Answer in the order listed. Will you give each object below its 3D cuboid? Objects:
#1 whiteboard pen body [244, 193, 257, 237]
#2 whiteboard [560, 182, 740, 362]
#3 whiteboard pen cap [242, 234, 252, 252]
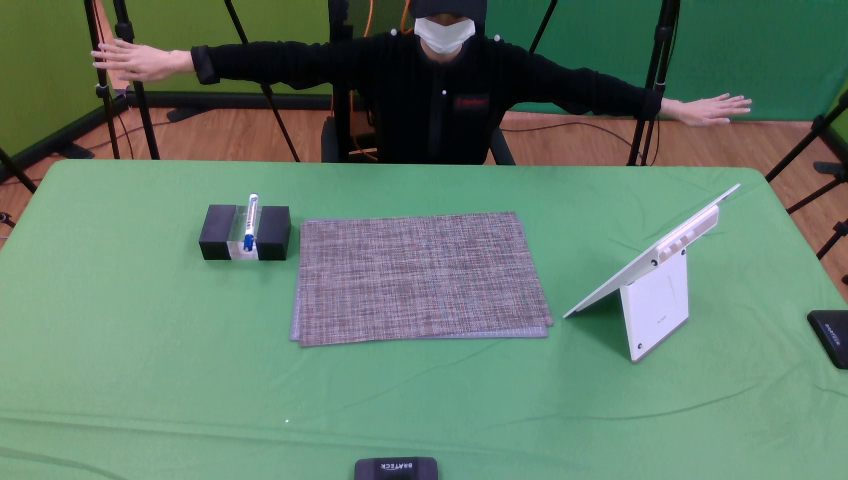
[{"bbox_3d":[-0.328,-0.039,1.145,0.017,0.017,0.140,-3,46,-7],"label":"whiteboard pen body"},{"bbox_3d":[0.406,0.075,1.001,0.217,0.306,0.143,-28,73,-28],"label":"whiteboard"},{"bbox_3d":[-0.322,0.004,1.102,0.018,0.018,0.033,-4,47,-8],"label":"whiteboard pen cap"}]
